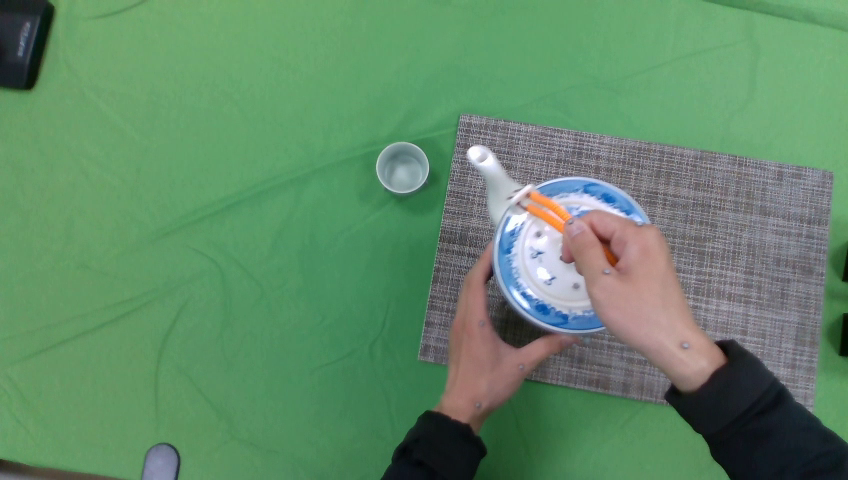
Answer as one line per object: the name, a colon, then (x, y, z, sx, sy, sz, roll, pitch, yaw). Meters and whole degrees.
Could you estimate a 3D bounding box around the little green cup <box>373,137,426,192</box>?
little green cup: (-0.028, -0.086, 0.712, 0.061, 0.039, 0.061, 0, 82, 1)

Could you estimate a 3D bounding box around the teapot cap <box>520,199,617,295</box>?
teapot cap: (0.126, 0.005, 0.525, 0.085, 0.044, 0.085, -1, 81, 4)

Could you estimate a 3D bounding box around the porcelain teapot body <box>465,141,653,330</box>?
porcelain teapot body: (0.114, -0.008, 0.569, 0.204, 0.226, 0.145, 44, 91, 12)
